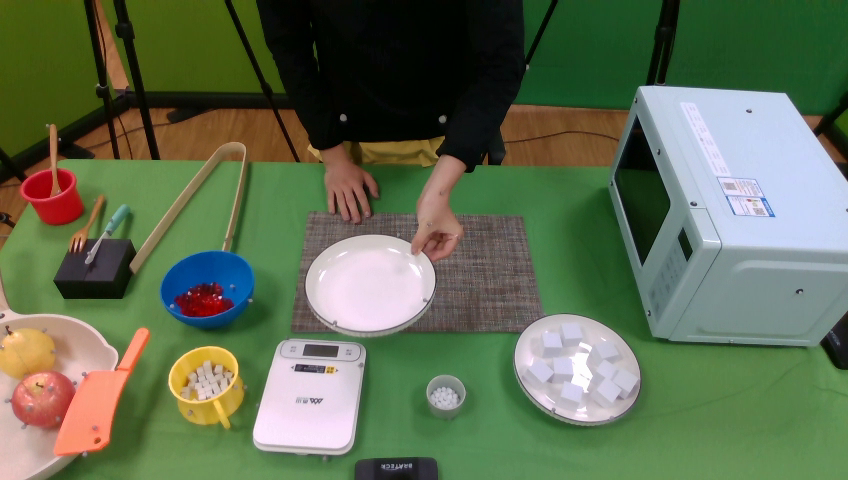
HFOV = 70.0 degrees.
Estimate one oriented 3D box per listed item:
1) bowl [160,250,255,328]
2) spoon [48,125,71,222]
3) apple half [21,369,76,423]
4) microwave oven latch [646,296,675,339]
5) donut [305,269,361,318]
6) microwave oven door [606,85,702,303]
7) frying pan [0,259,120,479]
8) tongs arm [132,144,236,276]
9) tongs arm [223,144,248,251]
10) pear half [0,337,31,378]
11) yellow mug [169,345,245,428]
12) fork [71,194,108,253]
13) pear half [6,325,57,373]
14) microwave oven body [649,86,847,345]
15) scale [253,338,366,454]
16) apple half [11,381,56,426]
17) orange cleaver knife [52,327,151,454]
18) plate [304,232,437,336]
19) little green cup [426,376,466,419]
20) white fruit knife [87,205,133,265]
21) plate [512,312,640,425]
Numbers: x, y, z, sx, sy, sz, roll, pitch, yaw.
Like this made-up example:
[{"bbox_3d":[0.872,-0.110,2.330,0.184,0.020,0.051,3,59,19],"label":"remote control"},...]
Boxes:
[{"bbox_3d":[-0.362,0.098,1.039,0.151,0.077,0.150,2,45,-2],"label":"bowl"},{"bbox_3d":[-0.719,-0.131,1.189,0.041,0.021,0.193,-3,91,-6],"label":"spoon"},{"bbox_3d":[-0.546,0.226,0.898,0.080,0.075,0.053,30,48,27],"label":"apple half"},{"bbox_3d":[0.412,0.134,1.061,0.030,0.029,0.078,4,45,1],"label":"microwave oven latch"},{"bbox_3d":[-0.161,0.094,1.075,0.099,0.048,0.098,3,45,-3],"label":"donut"},{"bbox_3d":[0.422,-0.094,1.140,0.039,0.245,0.353,2,46,-1],"label":"microwave oven door"},{"bbox_3d":[-0.647,0.164,0.936,0.307,0.103,0.485,-19,58,-22],"label":"frying pan"},{"bbox_3d":[-0.484,-0.075,1.237,0.028,0.028,0.385,5,45,14],"label":"tongs arm"},{"bbox_3d":[-0.397,-0.073,1.232,0.051,0.027,0.382,-4,45,1],"label":"tongs arm"},{"bbox_3d":[-0.631,0.183,0.923,0.070,0.088,0.031,28,50,14],"label":"pear half"},{"bbox_3d":[-0.322,0.230,0.922,0.100,0.064,0.130,-24,53,-25],"label":"yellow mug"},{"bbox_3d":[-0.634,-0.036,1.158,0.028,0.019,0.206,-8,32,-8],"label":"fork"},{"bbox_3d":[-0.607,0.158,0.935,0.076,0.110,0.056,30,51,19],"label":"pear half"},{"bbox_3d":[0.567,-0.053,1.118,0.326,0.261,0.439,2,45,-1],"label":"microwave oven body"},{"bbox_3d":[-0.175,0.236,0.951,0.149,0.032,0.199,4,46,-1],"label":"scale"},{"bbox_3d":[-0.570,0.246,0.875,0.081,0.081,0.033,32,49,24],"label":"apple half"},{"bbox_3d":[-0.462,0.212,0.879,0.077,0.012,0.210,6,46,-1],"label":"orange cleaver knife"},{"bbox_3d":[-0.084,0.071,0.960,0.209,0.038,0.208,1,44,-1],"label":"plate"},{"bbox_3d":[0.033,0.248,0.950,0.061,0.039,0.061,2,46,-2],"label":"little green cup"},{"bbox_3d":[-0.584,-0.013,1.129,0.016,0.027,0.206,0,32,-5],"label":"white fruit knife"},{"bbox_3d":[0.246,0.213,0.999,0.208,0.039,0.206,2,46,-2],"label":"plate"}]
